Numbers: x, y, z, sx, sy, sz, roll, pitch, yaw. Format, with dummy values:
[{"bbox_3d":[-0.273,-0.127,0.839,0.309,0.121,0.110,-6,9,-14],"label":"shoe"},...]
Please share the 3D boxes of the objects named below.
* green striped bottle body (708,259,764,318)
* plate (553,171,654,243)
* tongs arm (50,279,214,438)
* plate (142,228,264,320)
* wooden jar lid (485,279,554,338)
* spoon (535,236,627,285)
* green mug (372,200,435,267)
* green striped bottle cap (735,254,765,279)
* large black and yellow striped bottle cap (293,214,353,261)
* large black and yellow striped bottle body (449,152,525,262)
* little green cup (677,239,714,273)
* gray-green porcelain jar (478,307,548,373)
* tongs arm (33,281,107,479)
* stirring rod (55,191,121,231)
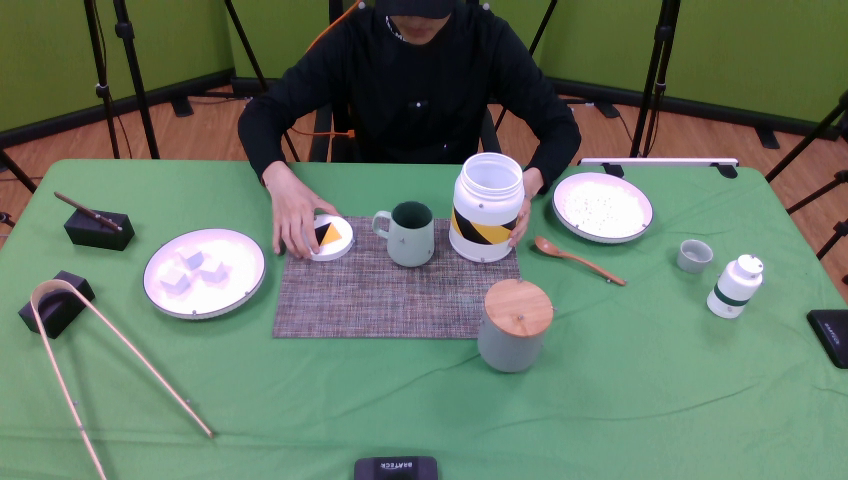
[{"bbox_3d":[0.563,0.081,1.089,0.063,0.120,0.063,2,46,-2],"label":"green striped bottle body"},{"bbox_3d":[0.373,-0.066,1.274,0.209,0.038,0.208,2,46,-2],"label":"plate"},{"bbox_3d":[-0.459,0.178,0.949,0.386,0.028,0.028,37,60,17],"label":"tongs arm"},{"bbox_3d":[-0.394,0.064,1.095,0.208,0.039,0.206,2,46,-2],"label":"plate"},{"bbox_3d":[0.147,0.108,0.940,0.108,0.021,0.107,4,47,-4],"label":"wooden jar lid"},{"bbox_3d":[0.303,0.040,1.178,0.193,0.022,0.041,25,34,19],"label":"spoon"},{"bbox_3d":[-0.040,-0.015,1.145,0.125,0.105,0.092,16,48,12],"label":"green mug"},{"bbox_3d":[0.566,0.046,1.051,0.044,0.020,0.044,0,45,0],"label":"green striped bottle cap"},{"bbox_3d":[-0.197,-0.007,1.186,0.115,0.019,0.114,3,47,-3],"label":"large black and yellow striped bottle cap"},{"bbox_3d":[0.119,-0.062,1.146,0.131,0.185,0.130,2,46,-2],"label":"large black and yellow striped bottle body"},{"bbox_3d":[0.530,0.033,1.190,0.061,0.039,0.061,2,47,-2],"label":"little green cup"},{"bbox_3d":[0.144,0.148,0.989,0.106,0.127,0.105,2,50,-2],"label":"gray-green porcelain jar"},{"bbox_3d":[-0.517,0.214,0.910,0.051,0.026,0.383,-28,63,-27],"label":"tongs arm"},{"bbox_3d":[-0.632,-0.055,1.138,0.175,0.014,0.006,24,51,19],"label":"stirring rod"}]
